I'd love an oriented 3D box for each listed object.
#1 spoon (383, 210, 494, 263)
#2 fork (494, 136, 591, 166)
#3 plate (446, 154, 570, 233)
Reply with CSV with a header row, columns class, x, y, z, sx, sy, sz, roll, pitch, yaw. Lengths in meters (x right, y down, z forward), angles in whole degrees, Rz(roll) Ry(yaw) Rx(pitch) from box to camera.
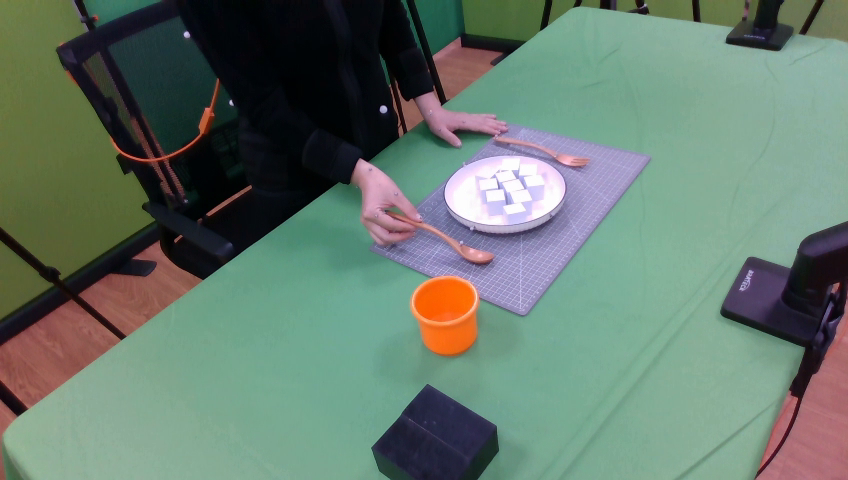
class,x,y,z,sx,sy,sz,roll,pitch,yaw
spoon,0.021,-0.008,0.954,0.193,0.021,0.042,28,27,14
fork,0.219,-0.171,1.144,0.205,0.019,0.028,24,56,31
plate,0.142,-0.076,1.033,0.207,0.039,0.206,-5,40,5
